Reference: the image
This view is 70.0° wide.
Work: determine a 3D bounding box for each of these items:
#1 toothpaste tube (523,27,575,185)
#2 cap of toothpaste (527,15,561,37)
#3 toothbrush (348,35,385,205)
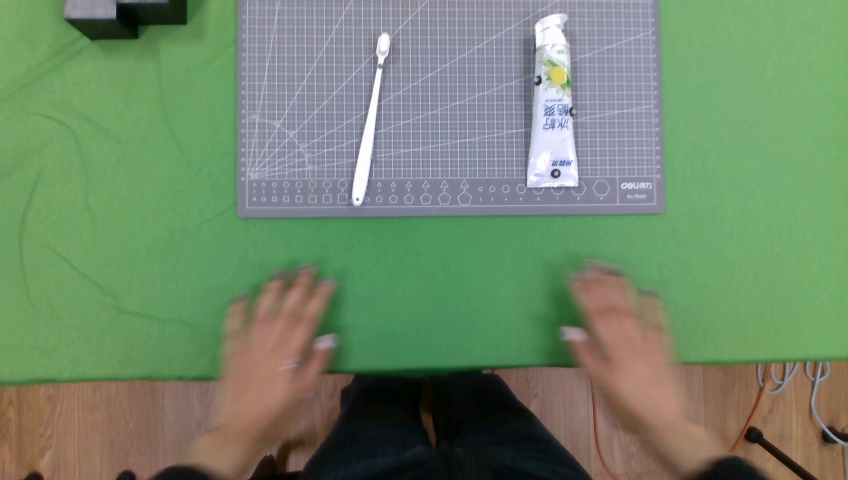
[{"bbox_3d":[0.129,-0.141,0.637,0.055,0.034,0.165,-2,91,4],"label":"toothpaste tube"},{"bbox_3d":[0.127,-0.223,0.636,0.037,0.037,0.011,-14,84,-4],"label":"cap of toothpaste"},{"bbox_3d":[-0.059,-0.126,0.632,0.014,0.016,0.181,10,88,-16],"label":"toothbrush"}]
